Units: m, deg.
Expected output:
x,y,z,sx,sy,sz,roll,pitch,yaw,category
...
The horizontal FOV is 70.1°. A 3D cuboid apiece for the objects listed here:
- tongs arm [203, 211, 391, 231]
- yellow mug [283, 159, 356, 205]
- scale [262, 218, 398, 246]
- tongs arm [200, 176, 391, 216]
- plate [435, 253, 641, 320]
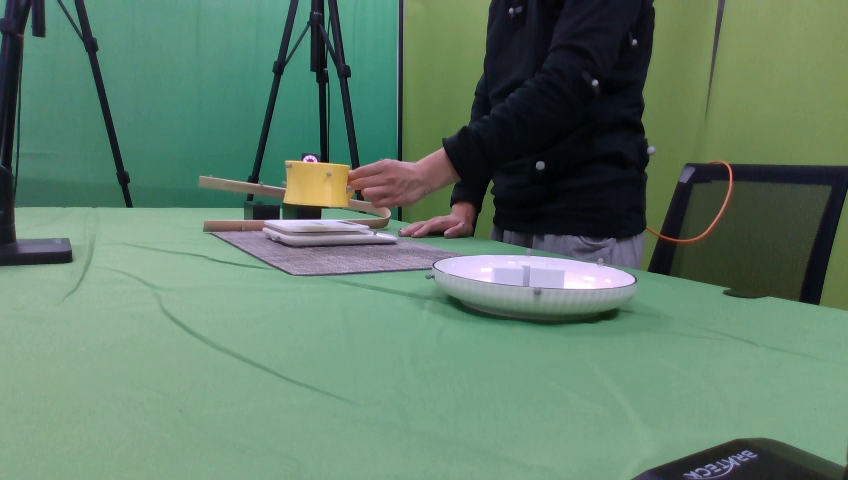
x,y,z,sx,sy,sz,roll,pitch,yaw,category
-0.231,-0.036,1.185,0.390,0.028,0.028,-3,32,-33,tongs arm
-0.156,-0.089,0.949,0.099,0.064,0.131,7,5,38,yellow mug
-0.160,-0.016,1.028,0.202,0.031,0.148,-1,9,-32,scale
-0.258,-0.084,1.245,0.387,0.026,0.050,6,32,-22,tongs arm
0.114,0.047,0.626,0.208,0.039,0.207,2,7,0,plate
